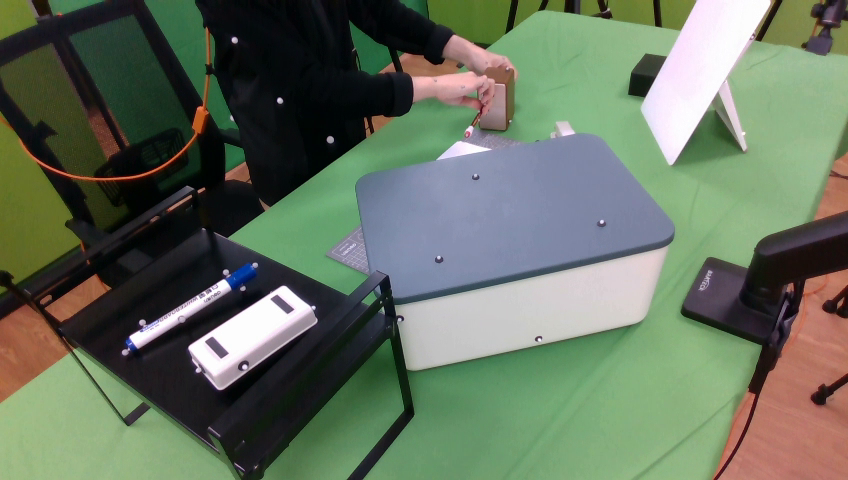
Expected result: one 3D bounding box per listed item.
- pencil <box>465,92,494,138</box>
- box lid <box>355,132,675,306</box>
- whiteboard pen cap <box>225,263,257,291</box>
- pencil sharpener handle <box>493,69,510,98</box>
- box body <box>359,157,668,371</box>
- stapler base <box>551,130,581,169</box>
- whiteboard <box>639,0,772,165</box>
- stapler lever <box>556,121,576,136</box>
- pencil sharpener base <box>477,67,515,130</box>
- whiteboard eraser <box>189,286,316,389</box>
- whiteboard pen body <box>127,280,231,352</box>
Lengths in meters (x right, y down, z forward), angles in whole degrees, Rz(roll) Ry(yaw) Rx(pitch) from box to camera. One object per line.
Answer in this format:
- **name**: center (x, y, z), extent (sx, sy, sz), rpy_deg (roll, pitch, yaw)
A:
- **pencil**: center (0.108, -0.240, 1.128), extent (0.012, 0.012, 0.194), rpy_deg (9, 40, 18)
- **box lid**: center (0.103, -0.042, 0.785), extent (0.372, 0.015, 0.261), rpy_deg (-12, 41, -5)
- **whiteboard pen cap**: center (-0.204, 0.041, 0.668), extent (0.033, 0.018, 0.018), rpy_deg (-36, 48, -22)
- **pencil sharpener handle**: center (0.161, -0.330, 1.254), extent (0.036, 0.068, 0.030), rpy_deg (15, 44, 11)
- **box body**: center (0.108, 0.014, 0.833), extent (0.365, 0.161, 0.252), rpy_deg (-11, 41, -5)
- **stapler base**: center (0.268, -0.178, 1.142), extent (0.041, 0.024, 0.130), rpy_deg (0, 37, 3)
- **whiteboard**: center (0.543, -0.298, 1.076), extent (0.144, 0.305, 0.216), rpy_deg (12, 40, -7)
- **stapler lever**: center (0.266, -0.198, 1.128), extent (0.027, 0.040, 0.117), rpy_deg (0, 38, 3)
- **pencil sharpener base**: center (0.149, -0.288, 1.226), extent (0.061, 0.107, 0.076), rpy_deg (8, 42, 18)
- **whiteboard eraser**: center (-0.166, 0.096, 0.593), extent (0.113, 0.042, 0.055), rpy_deg (-36, 47, -29)
- **whiteboard pen body**: center (-0.248, 0.072, 0.645), extent (0.141, 0.017, 0.017), rpy_deg (-35, 47, -23)
